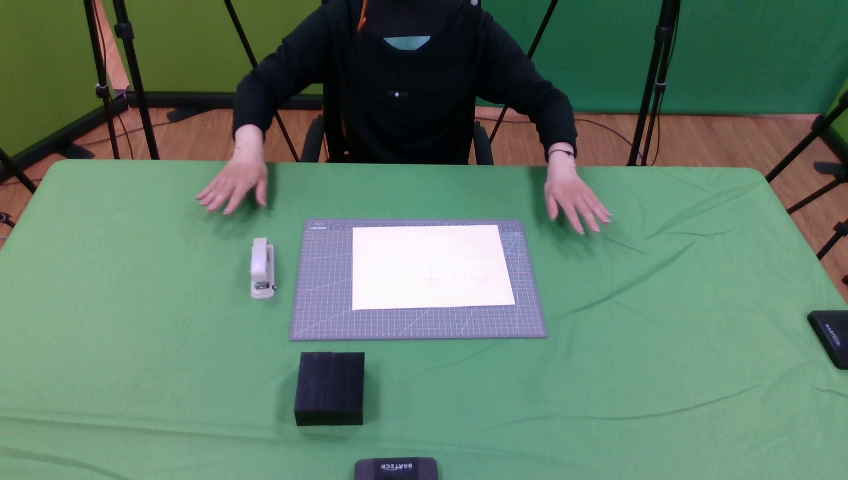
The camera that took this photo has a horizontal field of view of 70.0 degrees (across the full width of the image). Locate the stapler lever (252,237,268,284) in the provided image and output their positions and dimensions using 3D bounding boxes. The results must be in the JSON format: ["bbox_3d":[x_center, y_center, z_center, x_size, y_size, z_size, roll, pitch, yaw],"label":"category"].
[{"bbox_3d":[-0.299,0.031,1.107,0.027,0.040,0.117,-4,45,-11],"label":"stapler lever"}]

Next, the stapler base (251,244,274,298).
[{"bbox_3d":[-0.300,0.050,1.124,0.041,0.024,0.129,-4,45,-11],"label":"stapler base"}]
